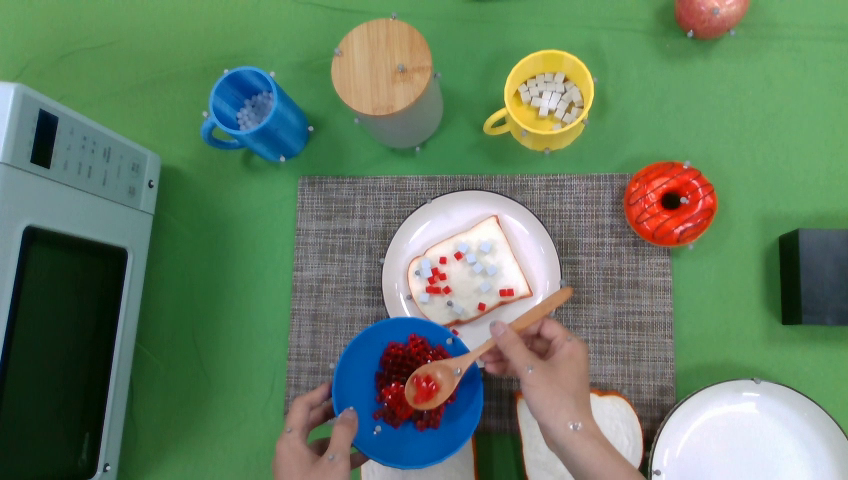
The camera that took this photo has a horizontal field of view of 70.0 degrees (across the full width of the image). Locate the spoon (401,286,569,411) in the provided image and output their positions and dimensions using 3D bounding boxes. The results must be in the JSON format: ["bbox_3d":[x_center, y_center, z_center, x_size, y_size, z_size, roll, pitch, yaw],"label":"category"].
[{"bbox_3d":[0.058,0.103,0.583,0.194,0.022,0.041,-37,70,12],"label":"spoon"}]

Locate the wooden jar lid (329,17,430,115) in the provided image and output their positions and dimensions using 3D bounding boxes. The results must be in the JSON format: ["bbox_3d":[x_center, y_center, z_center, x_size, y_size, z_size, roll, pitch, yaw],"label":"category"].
[{"bbox_3d":[-0.047,-0.182,0.644,0.108,0.021,0.108,-2,79,9],"label":"wooden jar lid"}]

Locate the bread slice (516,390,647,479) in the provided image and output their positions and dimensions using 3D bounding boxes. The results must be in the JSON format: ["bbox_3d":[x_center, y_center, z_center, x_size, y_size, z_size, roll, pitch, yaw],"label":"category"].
[{"bbox_3d":[0.169,0.214,0.637,0.135,0.018,0.106,-4,77,-13],"label":"bread slice"}]

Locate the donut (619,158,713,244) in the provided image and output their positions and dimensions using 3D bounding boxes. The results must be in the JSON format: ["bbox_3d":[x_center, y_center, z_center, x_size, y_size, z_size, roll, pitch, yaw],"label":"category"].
[{"bbox_3d":[0.270,-0.044,0.680,0.099,0.048,0.098,-1,82,8],"label":"donut"}]

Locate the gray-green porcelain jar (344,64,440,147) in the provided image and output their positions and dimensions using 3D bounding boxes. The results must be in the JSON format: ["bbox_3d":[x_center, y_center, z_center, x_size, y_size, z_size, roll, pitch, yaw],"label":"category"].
[{"bbox_3d":[-0.037,-0.172,0.705,0.106,0.127,0.105,-1,81,8],"label":"gray-green porcelain jar"}]

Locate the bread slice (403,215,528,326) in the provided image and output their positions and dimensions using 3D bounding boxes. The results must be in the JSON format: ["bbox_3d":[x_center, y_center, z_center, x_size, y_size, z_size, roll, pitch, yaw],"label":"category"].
[{"bbox_3d":[0.043,0.042,0.707,0.131,0.019,0.104,-25,78,0],"label":"bread slice"}]

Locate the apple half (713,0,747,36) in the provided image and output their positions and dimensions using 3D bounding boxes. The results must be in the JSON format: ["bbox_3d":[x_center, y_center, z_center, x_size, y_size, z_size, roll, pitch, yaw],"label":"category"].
[{"bbox_3d":[0.336,-0.280,0.694,0.053,0.075,0.080,-31,74,-3],"label":"apple half"}]

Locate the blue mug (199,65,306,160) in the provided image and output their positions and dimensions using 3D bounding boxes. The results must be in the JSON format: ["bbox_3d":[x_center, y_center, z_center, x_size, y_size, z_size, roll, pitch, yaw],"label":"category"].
[{"bbox_3d":[-0.214,-0.144,0.737,0.116,0.106,0.082,-25,78,4],"label":"blue mug"}]

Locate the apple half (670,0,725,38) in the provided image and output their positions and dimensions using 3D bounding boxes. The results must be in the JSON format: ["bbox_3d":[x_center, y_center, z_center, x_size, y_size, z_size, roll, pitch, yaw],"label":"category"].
[{"bbox_3d":[0.303,-0.259,0.693,0.033,0.081,0.081,-32,78,-2],"label":"apple half"}]

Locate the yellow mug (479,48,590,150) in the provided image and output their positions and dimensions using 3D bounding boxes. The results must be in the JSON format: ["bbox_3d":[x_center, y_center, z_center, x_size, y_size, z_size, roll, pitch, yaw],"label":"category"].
[{"bbox_3d":[0.126,-0.157,0.710,0.131,0.064,0.099,-23,79,5],"label":"yellow mug"}]

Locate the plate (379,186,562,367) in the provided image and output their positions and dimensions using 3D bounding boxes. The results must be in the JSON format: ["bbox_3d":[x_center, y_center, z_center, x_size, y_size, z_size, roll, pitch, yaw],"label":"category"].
[{"bbox_3d":[0.053,0.042,0.702,0.207,0.039,0.207,-1,82,8],"label":"plate"}]

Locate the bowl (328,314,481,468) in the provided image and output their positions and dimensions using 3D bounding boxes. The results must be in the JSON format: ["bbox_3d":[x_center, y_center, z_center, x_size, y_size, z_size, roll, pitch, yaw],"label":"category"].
[{"bbox_3d":[-0.024,0.160,0.621,0.152,0.077,0.150,5,61,-9],"label":"bowl"}]

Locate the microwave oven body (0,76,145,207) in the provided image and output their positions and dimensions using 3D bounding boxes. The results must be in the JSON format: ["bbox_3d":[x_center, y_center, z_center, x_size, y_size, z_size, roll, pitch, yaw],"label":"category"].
[{"bbox_3d":[-0.534,0.070,0.669,0.325,0.261,0.440,4,83,8],"label":"microwave oven body"}]

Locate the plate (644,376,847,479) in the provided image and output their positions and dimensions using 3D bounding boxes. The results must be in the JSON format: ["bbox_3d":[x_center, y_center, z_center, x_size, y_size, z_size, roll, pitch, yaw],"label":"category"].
[{"bbox_3d":[0.336,0.246,0.635,0.209,0.038,0.208,-1,81,9],"label":"plate"}]

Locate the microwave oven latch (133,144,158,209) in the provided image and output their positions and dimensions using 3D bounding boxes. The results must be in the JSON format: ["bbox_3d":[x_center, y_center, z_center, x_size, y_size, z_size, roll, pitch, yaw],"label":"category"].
[{"bbox_3d":[-0.358,-0.081,0.764,0.030,0.029,0.079,6,83,9],"label":"microwave oven latch"}]

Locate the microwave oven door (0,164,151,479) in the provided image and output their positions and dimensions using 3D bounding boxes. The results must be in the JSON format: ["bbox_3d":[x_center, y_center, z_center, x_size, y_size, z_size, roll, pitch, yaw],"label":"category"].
[{"bbox_3d":[-0.395,0.121,0.636,0.039,0.245,0.354,3,82,9],"label":"microwave oven door"}]
